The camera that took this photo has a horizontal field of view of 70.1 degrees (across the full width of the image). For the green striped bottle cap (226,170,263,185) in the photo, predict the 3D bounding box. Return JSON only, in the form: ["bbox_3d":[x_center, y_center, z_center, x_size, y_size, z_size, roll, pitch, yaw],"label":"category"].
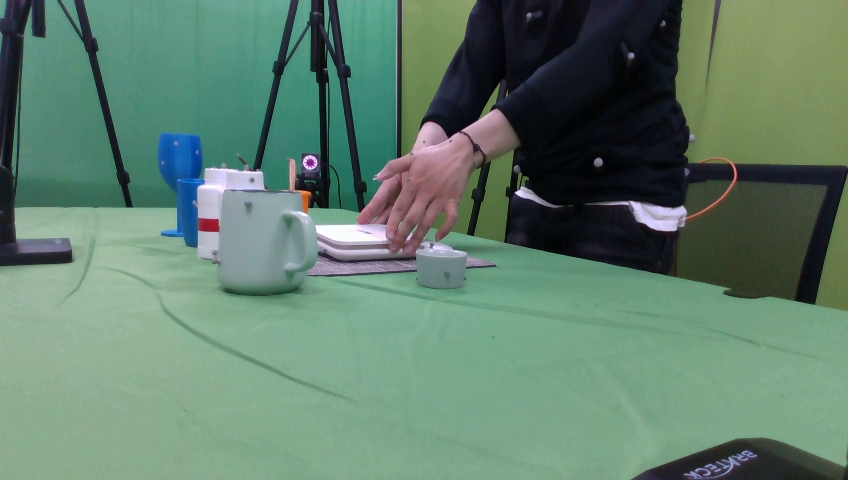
[{"bbox_3d":[-0.222,-0.077,0.748,0.044,0.020,0.044,1,7,0],"label":"green striped bottle cap"}]

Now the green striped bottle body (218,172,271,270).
[{"bbox_3d":[-0.223,-0.025,0.755,0.063,0.119,0.063,1,7,0],"label":"green striped bottle body"}]

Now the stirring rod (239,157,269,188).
[{"bbox_3d":[-0.309,-0.098,1.209,0.006,0.177,0.014,-38,29,-3],"label":"stirring rod"}]

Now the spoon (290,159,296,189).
[{"bbox_3d":[-0.273,-0.102,1.252,0.042,0.193,0.021,7,-38,-17],"label":"spoon"}]

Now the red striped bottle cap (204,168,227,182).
[{"bbox_3d":[-0.275,-0.088,0.821,0.044,0.017,0.044,4,6,0],"label":"red striped bottle cap"}]

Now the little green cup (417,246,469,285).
[{"bbox_3d":[0.021,0.029,0.701,0.061,0.038,0.061,1,6,0],"label":"little green cup"}]

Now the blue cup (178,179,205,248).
[{"bbox_3d":[-0.335,-0.041,0.936,0.093,0.100,0.092,3,9,0],"label":"blue cup"}]

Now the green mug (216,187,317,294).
[{"bbox_3d":[-0.157,0.000,0.629,0.124,0.105,0.093,7,9,37],"label":"green mug"}]

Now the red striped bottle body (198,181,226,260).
[{"bbox_3d":[-0.275,-0.035,0.827,0.063,0.119,0.063,1,6,0],"label":"red striped bottle body"}]

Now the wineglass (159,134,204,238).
[{"bbox_3d":[-0.415,-0.093,1.040,0.074,0.172,0.073,2,7,0],"label":"wineglass"}]

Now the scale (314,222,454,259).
[{"bbox_3d":[-0.066,-0.002,0.905,0.202,0.031,0.148,-2,11,-31],"label":"scale"}]
